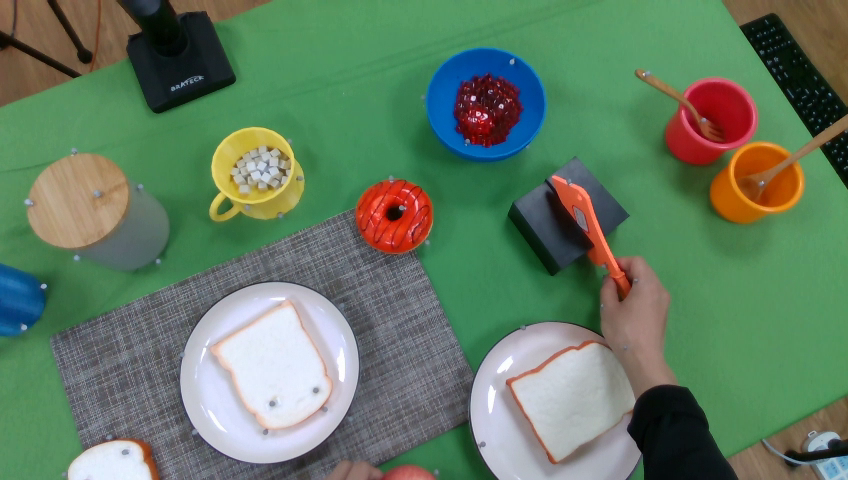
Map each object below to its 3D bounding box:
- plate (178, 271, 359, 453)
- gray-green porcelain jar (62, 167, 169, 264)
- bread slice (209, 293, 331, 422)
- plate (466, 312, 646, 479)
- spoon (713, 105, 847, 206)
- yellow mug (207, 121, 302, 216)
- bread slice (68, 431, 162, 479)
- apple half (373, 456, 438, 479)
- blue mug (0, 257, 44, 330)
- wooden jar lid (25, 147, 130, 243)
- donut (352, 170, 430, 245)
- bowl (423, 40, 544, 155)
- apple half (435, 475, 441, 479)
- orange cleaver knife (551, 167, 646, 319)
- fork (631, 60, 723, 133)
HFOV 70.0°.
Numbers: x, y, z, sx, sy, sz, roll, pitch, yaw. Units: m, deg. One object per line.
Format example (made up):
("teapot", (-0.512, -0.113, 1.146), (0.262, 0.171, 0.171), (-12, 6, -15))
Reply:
("plate", (-0.179, 0.141, 0.715), (0.208, 0.039, 0.206), (0, 76, -1))
("gray-green porcelain jar", (-0.370, -0.031, 0.713), (0.106, 0.127, 0.105), (0, 75, -1))
("bread slice", (-0.172, 0.143, 0.716), (0.107, 0.018, 0.133), (-35, 78, -8))
("plate", (0.152, 0.190, 0.711), (0.209, 0.038, 0.208), (0, 76, 0))
("spoon", (0.440, -0.106, 0.733), (0.022, 0.194, 0.041), (-15, 69, -51))
("yellow mug", (-0.220, -0.079, 0.759), (0.099, 0.064, 0.130), (41, 79, 9))
("bread slice", (-0.352, 0.286, 0.687), (0.105, 0.019, 0.131), (-17, 78, -6))
("apple half", (-0.029, 0.271, 0.671), (0.053, 0.075, 0.081), (42, 86, 17))
("blue mug", (-0.522, 0.069, 0.696), (0.082, 0.106, 0.116), (38, 79, 9))
("wooden jar lid", (-0.370, -0.047, 0.653), (0.108, 0.021, 0.108), (0, 74, 0))
("donut", (-0.041, -0.040, 0.759), (0.099, 0.048, 0.098), (0, 77, -1))
("bowl", (0.073, -0.170, 0.779), (0.151, 0.077, 0.150), (0, 76, -1))
("apple half", (0.001, 0.295, 0.662), (0.032, 0.082, 0.081), (42, 79, 16))
("orange cleaver knife", (0.210, 0.004, 0.735), (0.012, 0.076, 0.212), (-33, 107, -7))
("fork", (0.317, -0.175, 0.748), (0.209, 0.018, 0.028), (19, 70, -39))
